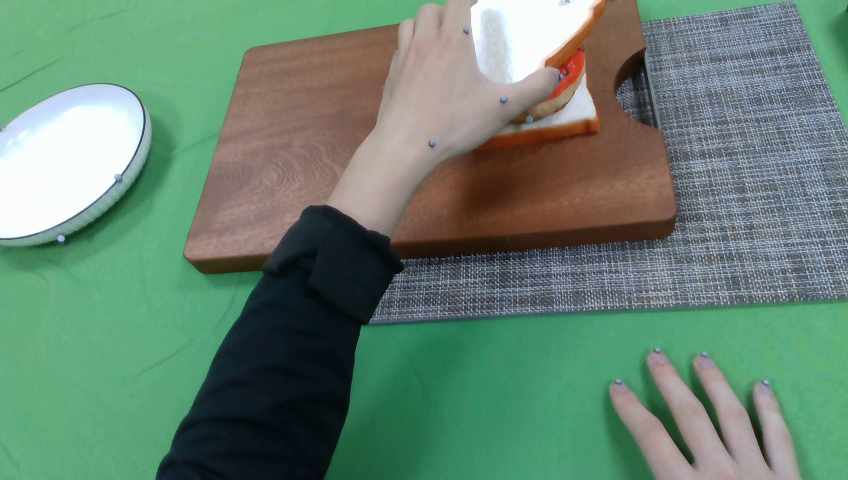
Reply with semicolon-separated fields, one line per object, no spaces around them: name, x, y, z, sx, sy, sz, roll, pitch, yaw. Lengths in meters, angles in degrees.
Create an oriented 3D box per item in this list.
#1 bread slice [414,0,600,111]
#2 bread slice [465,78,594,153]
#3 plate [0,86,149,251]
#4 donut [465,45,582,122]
bread slice;0.070;-0.162;0.474;0.106;0.018;0.134;29;72;32
bread slice;0.084;-0.136;0.527;0.105;0.019;0.130;-8;58;9
plate;-0.380;-0.074;0.633;0.209;0.038;0.207;-7;56;11
donut;0.079;-0.139;0.495;0.099;0.049;0.098;-8;57;13
